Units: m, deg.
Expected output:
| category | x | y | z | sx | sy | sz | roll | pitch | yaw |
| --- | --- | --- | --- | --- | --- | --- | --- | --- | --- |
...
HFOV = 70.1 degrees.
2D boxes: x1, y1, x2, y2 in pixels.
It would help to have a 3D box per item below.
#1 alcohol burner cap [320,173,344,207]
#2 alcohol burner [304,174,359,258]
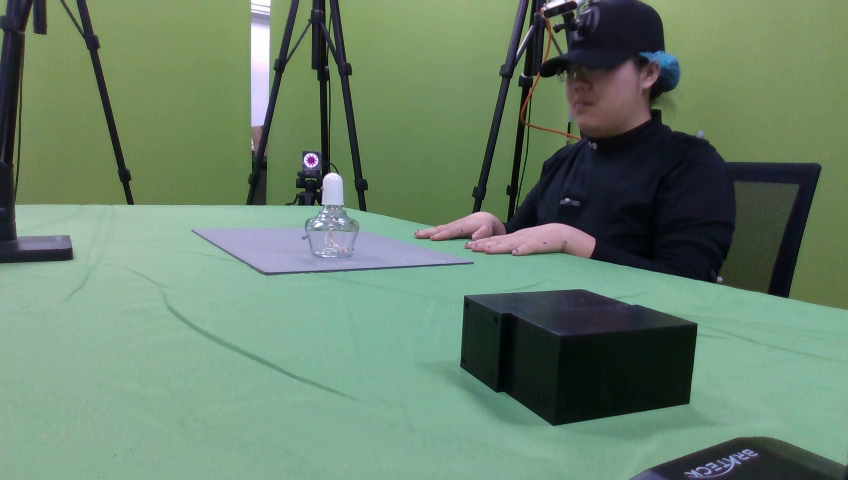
| category | x | y | z | sx | sy | sz | roll | pitch | yaw |
| --- | --- | --- | --- | --- | --- | --- | --- | --- | --- |
| alcohol burner cap | -0.129 | -0.071 | 0.848 | 0.034 | 0.048 | 0.034 | 0 | 2 | 0 |
| alcohol burner | -0.129 | -0.035 | 0.851 | 0.078 | 0.119 | 0.078 | 2 | 5 | 0 |
